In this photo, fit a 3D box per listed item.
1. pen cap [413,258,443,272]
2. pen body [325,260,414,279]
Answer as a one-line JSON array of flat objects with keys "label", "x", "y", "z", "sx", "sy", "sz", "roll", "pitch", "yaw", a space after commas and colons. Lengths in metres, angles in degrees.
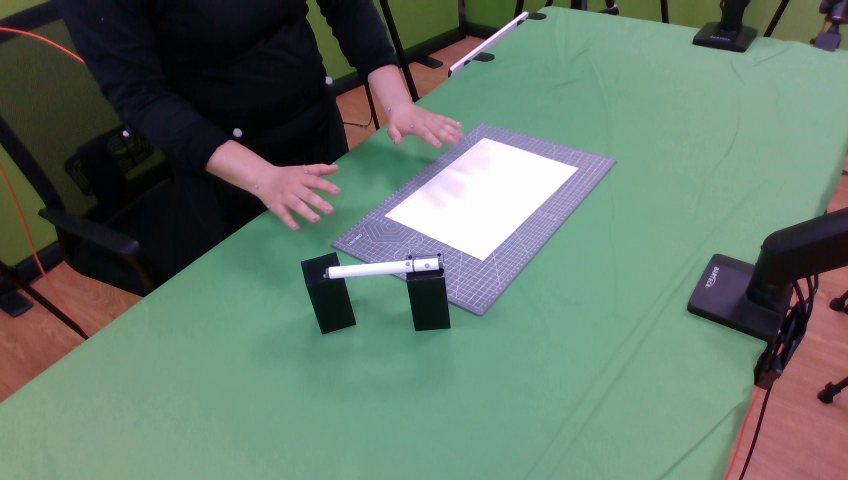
[{"label": "pen cap", "x": 0.005, "y": 0.031, "z": 0.781, "sx": 0.038, "sy": 0.017, "sz": 0.017, "roll": -5, "pitch": 40, "yaw": 3}, {"label": "pen body", "x": -0.056, "y": 0.037, "z": 0.784, "sx": 0.144, "sy": 0.017, "sz": 0.017, "roll": -5, "pitch": 40, "yaw": 4}]
